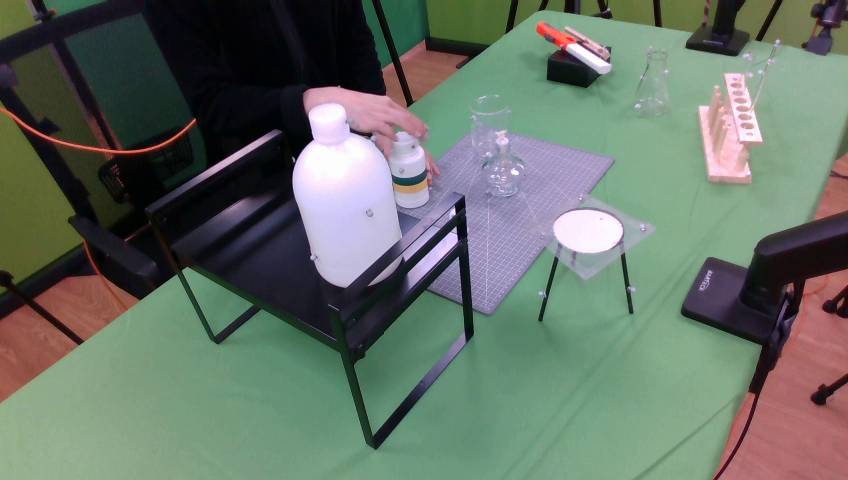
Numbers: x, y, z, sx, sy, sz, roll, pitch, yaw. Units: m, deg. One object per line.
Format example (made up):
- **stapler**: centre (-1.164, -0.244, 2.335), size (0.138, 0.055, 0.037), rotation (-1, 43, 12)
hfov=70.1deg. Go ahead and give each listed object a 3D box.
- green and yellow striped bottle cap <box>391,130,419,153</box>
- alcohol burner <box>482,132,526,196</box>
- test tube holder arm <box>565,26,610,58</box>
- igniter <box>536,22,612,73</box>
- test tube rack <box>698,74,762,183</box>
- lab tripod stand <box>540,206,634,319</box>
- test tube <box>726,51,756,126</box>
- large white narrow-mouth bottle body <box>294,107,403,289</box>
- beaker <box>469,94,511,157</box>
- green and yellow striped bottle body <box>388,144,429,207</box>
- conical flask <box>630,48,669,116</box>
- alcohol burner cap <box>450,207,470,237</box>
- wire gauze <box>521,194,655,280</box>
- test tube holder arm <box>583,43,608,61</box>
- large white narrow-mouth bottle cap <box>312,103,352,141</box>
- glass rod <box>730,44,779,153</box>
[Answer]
- **green and yellow striped bottle cap**: centre (-0.032, -0.164, 1.004), size (0.045, 0.020, 0.045), rotation (-4, 39, 4)
- **alcohol burner**: centre (0.137, -0.136, 1.042), size (0.078, 0.119, 0.077), rotation (-4, 43, 4)
- **test tube holder arm**: centre (0.369, -0.450, 1.373), size (0.013, 0.015, 0.177), rotation (-39, 41, 10)
- **igniter**: centre (0.330, -0.439, 1.366), size (0.057, 0.025, 0.274), rotation (-12, 41, -20)
- **test tube rack**: centre (0.547, -0.208, 1.095), size (0.066, 0.085, 0.242), rotation (5, 42, 15)
- **lab tripod stand**: centre (0.218, 0.034, 0.821), size (0.148, 0.132, 0.147), rotation (-4, 42, 4)
- **test tube**: centre (0.568, -0.268, 1.086), size (0.017, 0.151, 0.017), rotation (-4, 46, 4)
- **large white narrow-mouth bottle body**: centre (-0.082, -0.047, 0.634), size (0.102, 0.195, 0.101), rotation (-4, 39, 4)
- **beaker**: centre (0.124, -0.216, 1.148), size (0.074, 0.101, 0.083), rotation (-21, 42, -16)
- **green and yellow striped bottle body**: centre (-0.027, -0.121, 1.042), size (0.063, 0.120, 0.063), rotation (-4, 40, 4)
- **conical flask**: centre (0.456, -0.317, 1.205), size (0.075, 0.122, 0.075), rotation (-4, 41, 4)
- **alcohol burner cap**: centre (0.057, -0.032, 0.987), size (0.034, 0.048, 0.033), rotation (-5, 41, 4)
- **wire gauze**: centre (0.207, -0.012, 0.772), size (0.122, 0.011, 0.124), rotation (-28, 44, -20)
- **test tube holder arm**: centre (0.379, -0.420, 1.341), size (0.010, 0.015, 0.087), rotation (-39, 41, 10)
- **large white narrow-mouth bottle cap**: centre (-0.088, -0.113, 0.579), size (0.038, 0.024, 0.037), rotation (-3, 39, 3)
- **glass rod**: centre (0.555, -0.233, 1.020), size (0.008, 0.200, 0.008), rotation (2, 39, -1)
